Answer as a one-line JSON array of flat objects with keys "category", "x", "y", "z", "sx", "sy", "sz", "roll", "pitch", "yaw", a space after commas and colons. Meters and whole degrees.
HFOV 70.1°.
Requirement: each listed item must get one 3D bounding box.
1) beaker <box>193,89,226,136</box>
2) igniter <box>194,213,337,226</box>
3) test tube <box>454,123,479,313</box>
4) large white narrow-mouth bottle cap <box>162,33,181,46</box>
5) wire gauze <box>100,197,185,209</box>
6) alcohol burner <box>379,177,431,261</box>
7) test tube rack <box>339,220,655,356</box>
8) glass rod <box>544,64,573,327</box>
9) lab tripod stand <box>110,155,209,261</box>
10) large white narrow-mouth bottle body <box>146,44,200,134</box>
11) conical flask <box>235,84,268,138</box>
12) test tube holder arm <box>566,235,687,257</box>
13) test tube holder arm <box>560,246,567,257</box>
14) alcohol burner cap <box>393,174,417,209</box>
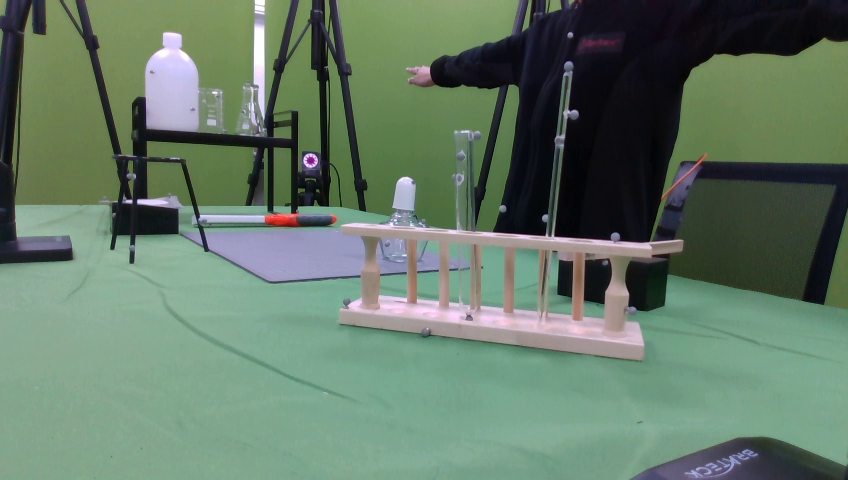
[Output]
[{"category": "beaker", "x": -0.485, "y": -0.284, "z": 1.353, "sx": 0.073, "sy": 0.100, "sz": 0.084, "roll": 8, "pitch": 10, "yaw": 42}, {"category": "igniter", "x": -0.306, "y": -0.041, "z": 1.197, "sx": 0.278, "sy": 0.025, "sz": 0.057, "roll": -2, "pitch": -2, "yaw": -30}, {"category": "test tube", "x": 0.034, "y": -0.016, "z": 0.477, "sx": 0.017, "sy": 0.150, "sz": 0.017, "roll": -2, "pitch": 9, "yaw": 1}, {"category": "large white narrow-mouth bottle cap", "x": -0.510, "y": -0.404, "z": 1.224, "sx": 0.038, "sy": 0.024, "sz": 0.037, "roll": 2, "pitch": 7, "yaw": 0}, {"category": "wire gauze", "x": -0.469, "y": -0.062, "z": 1.008, "sx": 0.126, "sy": 0.011, "sz": 0.121, "roll": -2, "pitch": 8, "yaw": -25}, {"category": "alcohol burner", "x": -0.027, "y": -0.031, "z": 0.838, "sx": 0.078, "sy": 0.119, "sz": 0.078, "roll": 0, "pitch": 6, "yaw": 0}, {"category": "test tube rack", "x": 0.056, "y": 0.032, "z": 0.495, "sx": 0.242, "sy": 0.085, "sz": 0.067, "roll": 4, "pitch": 7, "yaw": 15}, {"category": "glass rod", "x": 0.101, "y": -0.028, "z": 0.453, "sx": 0.008, "sy": 0.199, "sz": 0.008, "roll": 1, "pitch": 14, "yaw": 0}, {"category": "lab tripod stand", "x": -0.361, "y": -0.046, "z": 0.806, "sx": 0.148, "sy": 0.131, "sz": 0.148, "roll": 2, "pitch": 5, "yaw": 0}, {"category": "large white narrow-mouth bottle body", "x": -0.512, "y": -0.318, "z": 1.234, "sx": 0.102, "sy": 0.194, "sz": 0.102, "roll": 2, "pitch": 7, "yaw": 0}, {"category": "conical flask", "x": -0.401, "y": -0.299, "z": 1.406, "sx": 0.075, "sy": 0.122, "sz": 0.075, "roll": 2, "pitch": 7, "yaw": 0}, {"category": "test tube holder arm", "x": 0.215, "y": 0.006, "z": 0.630, "sx": 0.179, "sy": 0.015, "sz": 0.013, "roll": -3, "pitch": 9, "yaw": -31}, {"category": "test tube holder arm", "x": 0.173, "y": 0.007, "z": 0.611, "sx": 0.088, "sy": 0.015, "sz": 0.010, "roll": -3, "pitch": 9, "yaw": -30}, {"category": "alcohol burner cap", "x": -0.025, "y": -0.067, "z": 0.834, "sx": 0.034, "sy": 0.048, "sz": 0.034, "roll": 8, "pitch": 7, "yaw": -1}]
